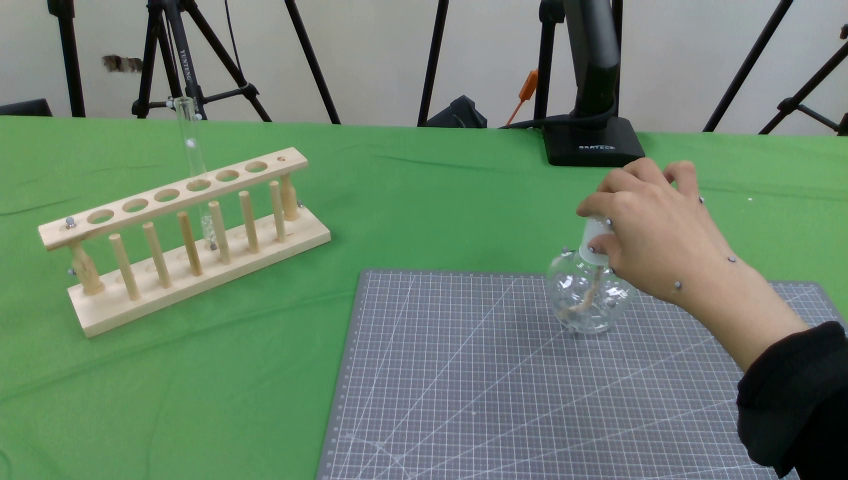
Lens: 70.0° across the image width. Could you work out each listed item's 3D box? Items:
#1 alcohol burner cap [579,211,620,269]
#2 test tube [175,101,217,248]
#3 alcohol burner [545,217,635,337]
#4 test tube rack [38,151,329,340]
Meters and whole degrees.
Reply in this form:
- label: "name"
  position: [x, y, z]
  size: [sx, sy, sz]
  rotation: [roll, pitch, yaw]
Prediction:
- label: "alcohol burner cap"
  position: [0.147, -0.003, 0.500]
  size: [0.034, 0.048, 0.033]
  rotation: [-3, 44, 4]
- label: "test tube"
  position: [-0.214, -0.058, 0.576]
  size: [0.017, 0.151, 0.017]
  rotation: [0, 32, 0]
- label: "alcohol burner"
  position: [0.145, 0.026, 0.522]
  size: [0.078, 0.120, 0.077]
  rotation: [1, 39, 0]
- label: "test tube rack"
  position: [-0.218, -0.003, 0.586]
  size: [0.243, 0.086, 0.066]
  rotation: [-24, 43, -28]
